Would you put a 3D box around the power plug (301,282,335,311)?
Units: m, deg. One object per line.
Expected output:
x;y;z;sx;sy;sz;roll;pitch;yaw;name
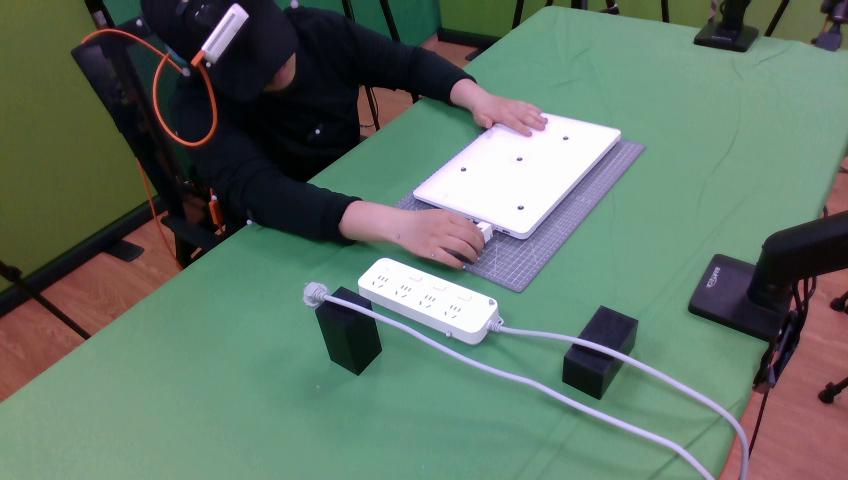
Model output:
-0.134;0.082;0.783;0.035;0.053;0.072;-42;47;-7;power plug

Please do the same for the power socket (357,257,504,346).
0.002;0.084;0.862;0.225;0.033;0.072;20;49;28;power socket

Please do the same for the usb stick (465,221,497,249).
0.091;-0.010;0.944;0.021;0.027;0.059;22;40;40;usb stick

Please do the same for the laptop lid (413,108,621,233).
0.173;-0.143;1.095;0.239;0.013;0.358;23;49;34;laptop lid

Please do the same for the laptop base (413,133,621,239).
0.176;-0.134;1.101;0.233;0.023;0.355;21;48;33;laptop base
